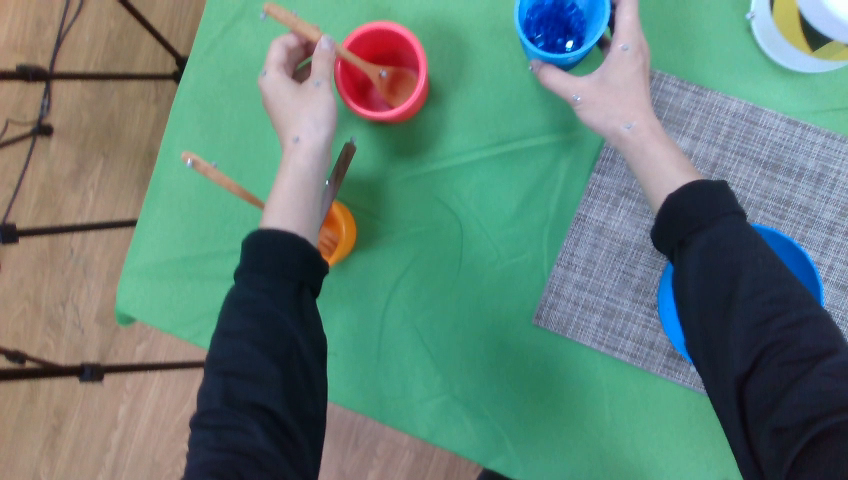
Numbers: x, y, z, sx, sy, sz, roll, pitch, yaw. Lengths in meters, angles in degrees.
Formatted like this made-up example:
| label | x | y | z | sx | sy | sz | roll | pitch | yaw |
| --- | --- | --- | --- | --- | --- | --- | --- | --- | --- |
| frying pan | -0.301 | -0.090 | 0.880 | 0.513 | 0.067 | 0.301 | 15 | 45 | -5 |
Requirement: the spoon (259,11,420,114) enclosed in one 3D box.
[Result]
| label | x | y | z | sx | sy | sz | roll | pitch | yaw |
| --- | --- | --- | --- | --- | --- | --- | --- | --- | --- |
| spoon | -0.081 | -0.184 | 0.627 | 0.041 | 0.195 | 0.021 | -57 | 42 | 13 |

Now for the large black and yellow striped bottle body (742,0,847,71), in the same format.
| label | x | y | z | sx | sy | sz | roll | pitch | yaw |
| --- | --- | --- | --- | --- | --- | --- | --- | --- | --- |
| large black and yellow striped bottle body | 0.383 | -0.236 | 0.541 | 0.130 | 0.184 | 0.131 | 0 | 92 | 8 |

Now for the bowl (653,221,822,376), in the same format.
| label | x | y | z | sx | sy | sz | roll | pitch | yaw |
| --- | --- | --- | --- | --- | --- | --- | --- | --- | --- |
| bowl | 0.305 | 0.056 | 0.615 | 0.151 | 0.077 | 0.151 | 0 | 92 | 9 |

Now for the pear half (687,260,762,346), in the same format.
| label | x | y | z | sx | sy | sz | roll | pitch | yaw |
| --- | --- | --- | --- | --- | --- | --- | --- | --- | --- |
| pear half | 0.305 | 0.063 | 0.609 | 0.070 | 0.031 | 0.088 | -5 | 87 | 5 |

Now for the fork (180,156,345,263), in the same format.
| label | x | y | z | sx | sy | sz | roll | pitch | yaw |
| --- | --- | --- | --- | --- | --- | --- | --- | --- | --- |
| fork | -0.166 | -0.029 | 0.647 | 0.028 | 0.018 | 0.209 | -43 | 130 | 15 |

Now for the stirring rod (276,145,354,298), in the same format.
| label | x | y | z | sx | sy | sz | roll | pitch | yaw |
| --- | --- | --- | --- | --- | --- | --- | --- | --- | --- |
| stirring rod | -0.116 | -0.018 | 0.638 | 0.014 | 0.006 | 0.176 | 26 | 96 | 4 |

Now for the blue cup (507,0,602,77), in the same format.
| label | x | y | z | sx | sy | sz | roll | pitch | yaw |
| --- | --- | --- | --- | --- | --- | --- | --- | --- | --- |
| blue cup | 0.127 | -0.205 | 0.600 | 0.092 | 0.100 | 0.092 | 0 | 90 | 10 |
